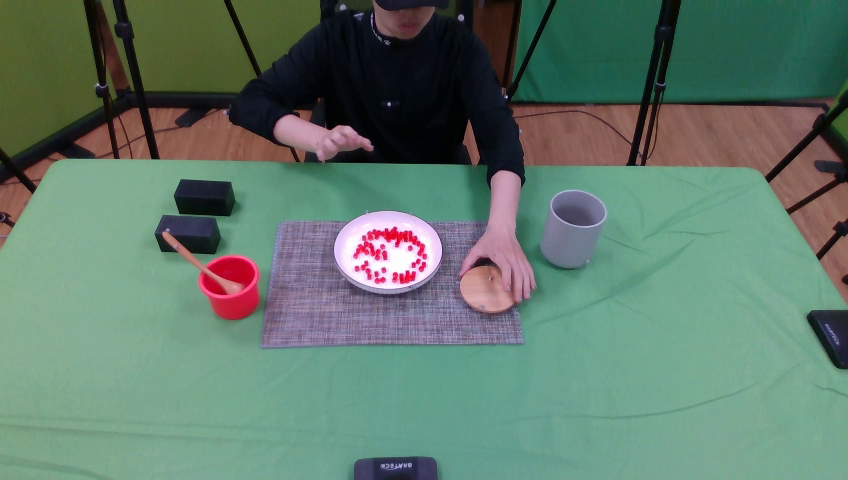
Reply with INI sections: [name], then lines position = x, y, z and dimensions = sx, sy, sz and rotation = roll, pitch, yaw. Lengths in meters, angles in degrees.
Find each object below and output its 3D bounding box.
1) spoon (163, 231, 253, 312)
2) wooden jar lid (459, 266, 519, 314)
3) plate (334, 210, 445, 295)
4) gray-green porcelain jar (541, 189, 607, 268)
[spoon]
position = -0.364, 0.054, 1.024
dimensions = 0.194, 0.021, 0.041
rotation = 43, 49, -17
[wooden jar lid]
position = 0.118, 0.094, 1.112
dimensions = 0.108, 0.021, 0.107
rotation = 2, 47, -2
[plate]
position = -0.066, 0.026, 1.150
dimensions = 0.208, 0.039, 0.206
rotation = 2, 46, -2
[gray-green porcelain jar]
position = 0.283, -0.017, 1.160
dimensions = 0.106, 0.127, 0.105
rotation = 2, 46, -2
